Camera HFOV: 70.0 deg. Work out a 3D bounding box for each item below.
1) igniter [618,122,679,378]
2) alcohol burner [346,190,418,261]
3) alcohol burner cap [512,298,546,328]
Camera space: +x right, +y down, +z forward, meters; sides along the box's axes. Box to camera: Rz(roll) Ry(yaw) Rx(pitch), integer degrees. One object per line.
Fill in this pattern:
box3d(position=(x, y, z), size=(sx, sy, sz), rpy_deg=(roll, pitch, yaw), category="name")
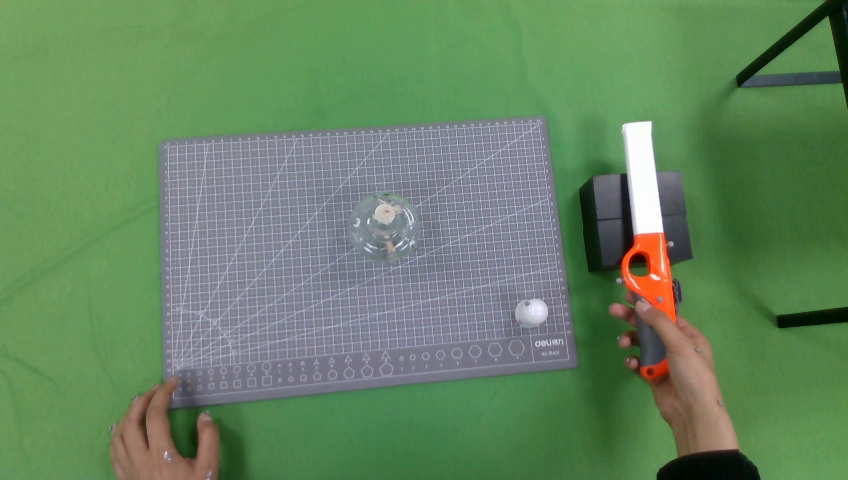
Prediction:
box3d(position=(0.234, 0.005, 0.643), size=(0.057, 0.025, 0.275), rpy_deg=(-3, 76, 9), category="igniter")
box3d(position=(-0.044, -0.019, 0.635), size=(0.078, 0.119, 0.077), rpy_deg=(1, 80, -5), category="alcohol burner")
box3d(position=(0.117, 0.079, 0.665), size=(0.034, 0.048, 0.033), rpy_deg=(1, 79, -3), category="alcohol burner cap")
